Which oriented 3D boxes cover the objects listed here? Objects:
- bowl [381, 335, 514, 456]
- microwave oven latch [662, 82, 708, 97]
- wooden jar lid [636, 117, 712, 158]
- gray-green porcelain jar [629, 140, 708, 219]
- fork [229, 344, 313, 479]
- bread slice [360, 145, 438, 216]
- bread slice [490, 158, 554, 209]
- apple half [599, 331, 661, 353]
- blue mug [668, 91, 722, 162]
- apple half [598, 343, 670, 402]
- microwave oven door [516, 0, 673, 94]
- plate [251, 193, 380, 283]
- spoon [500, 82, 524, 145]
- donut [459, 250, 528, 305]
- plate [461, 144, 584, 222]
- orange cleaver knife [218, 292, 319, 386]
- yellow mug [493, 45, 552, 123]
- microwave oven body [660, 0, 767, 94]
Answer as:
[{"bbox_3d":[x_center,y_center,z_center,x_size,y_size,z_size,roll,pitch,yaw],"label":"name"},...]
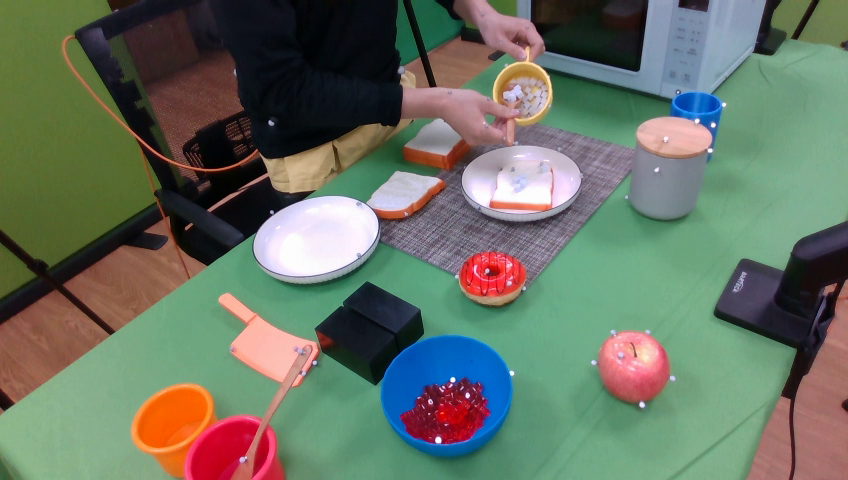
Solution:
[{"bbox_3d":[0.029,0.192,0.701,0.151,0.077,0.150,-4,40,4],"label":"bowl"},{"bbox_3d":[0.518,-0.298,1.203,0.078,0.029,0.030,28,53,35],"label":"microwave oven latch"},{"bbox_3d":[0.377,-0.151,0.917,0.108,0.021,0.108,-2,42,3],"label":"wooden jar lid"},{"bbox_3d":[0.383,-0.105,0.958,0.106,0.127,0.105,-4,41,4],"label":"gray-green porcelain jar"},{"bbox_3d":[-0.173,0.205,0.662,0.028,0.019,0.207,29,94,36],"label":"fork"},{"bbox_3d":[-0.053,-0.103,1.046,0.106,0.018,0.134,18,67,23],"label":"bread slice"},{"bbox_3d":[0.173,-0.100,1.047,0.104,0.019,0.131,3,42,13],"label":"bread slice"},{"bbox_3d":[0.249,0.134,0.738,0.081,0.081,0.032,-1,46,7],"label":"apple half"},{"bbox_3d":[0.474,-0.207,1.078,0.082,0.106,0.116,4,42,13],"label":"blue mug"},{"bbox_3d":[0.247,0.161,0.710,0.081,0.075,0.053,2,47,5],"label":"apple half"},{"bbox_3d":[0.344,-0.458,1.257,0.353,0.245,0.039,26,52,33],"label":"microwave oven door"},{"bbox_3d":[-0.173,-0.001,0.984,0.209,0.038,0.208,-4,41,4],"label":"plate"},{"bbox_3d":[0.142,-0.210,0.990,0.041,0.022,0.193,4,38,7],"label":"spoon"},{"bbox_3d":[0.100,0.053,0.873,0.099,0.048,0.098,-4,40,4],"label":"donut"},{"bbox_3d":[0.168,-0.095,1.040,0.207,0.039,0.206,-4,40,4],"label":"plate"},{"bbox_3d":[-0.235,0.136,0.850,0.209,0.012,0.077,25,57,30],"label":"orange cleaver knife"},{"bbox_3d":[0.174,-0.272,1.050,0.099,0.131,0.064,6,6,11],"label":"yellow mug"},{"bbox_3d":[0.473,-0.516,1.313,0.438,0.261,0.327,26,51,34],"label":"microwave oven body"}]
